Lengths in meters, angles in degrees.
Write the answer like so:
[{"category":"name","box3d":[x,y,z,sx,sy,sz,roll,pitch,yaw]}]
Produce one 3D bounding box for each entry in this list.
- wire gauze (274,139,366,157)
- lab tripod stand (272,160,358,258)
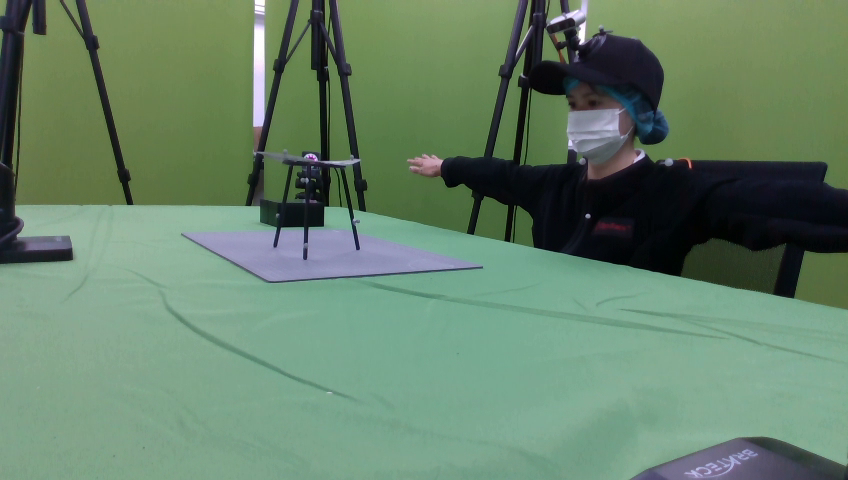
[{"category":"wire gauze","box3d":[-0.153,-0.130,0.869,0.122,0.011,0.124,-3,1,-15]},{"category":"lab tripod stand","box3d":[-0.159,-0.048,0.876,0.148,0.131,0.148,3,5,0]}]
